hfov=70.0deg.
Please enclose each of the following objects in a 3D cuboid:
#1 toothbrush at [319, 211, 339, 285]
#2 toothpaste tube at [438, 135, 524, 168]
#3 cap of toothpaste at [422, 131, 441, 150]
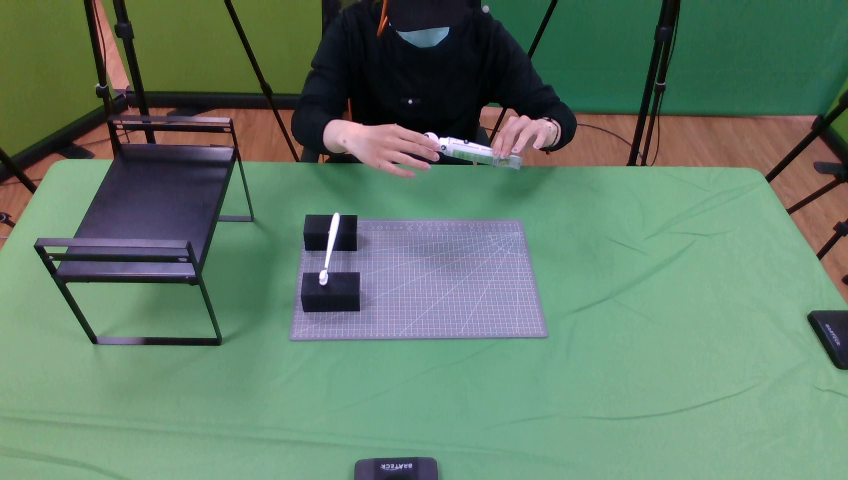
[{"bbox_3d":[-0.172,0.009,1.103,0.014,0.017,0.180,-6,44,9],"label":"toothbrush"},{"bbox_3d":[0.102,-0.166,1.127,0.165,0.055,0.034,14,80,5],"label":"toothpaste tube"},{"bbox_3d":[0.014,-0.183,1.116,0.037,0.037,0.011,-1,14,-6],"label":"cap of toothpaste"}]
